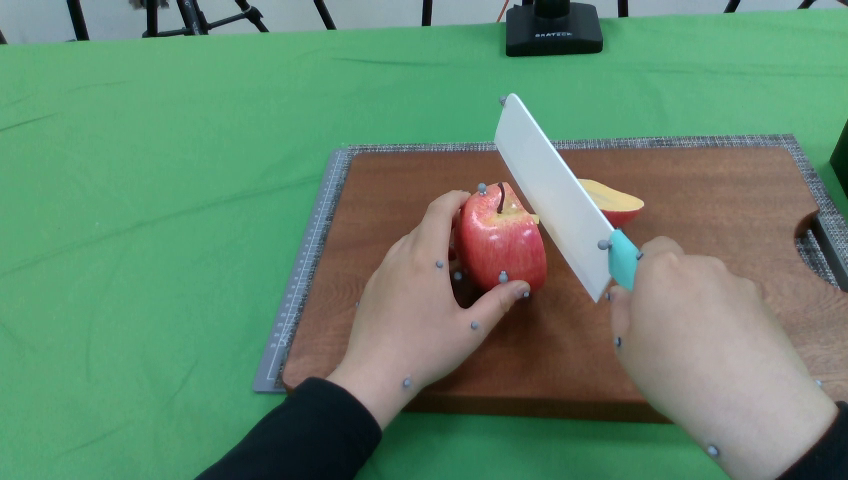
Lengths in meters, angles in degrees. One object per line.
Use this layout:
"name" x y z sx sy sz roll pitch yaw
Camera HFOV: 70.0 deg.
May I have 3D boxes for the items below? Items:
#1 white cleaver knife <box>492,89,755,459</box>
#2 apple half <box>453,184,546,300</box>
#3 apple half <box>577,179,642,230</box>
"white cleaver knife" 0.109 0.005 0.388 0.021 0.066 0.283 -13 52 -15
"apple half" 0.048 0.006 0.436 0.053 0.075 0.080 -19 48 -6
"apple half" 0.126 -0.023 0.479 0.081 0.033 0.080 8 24 -3
